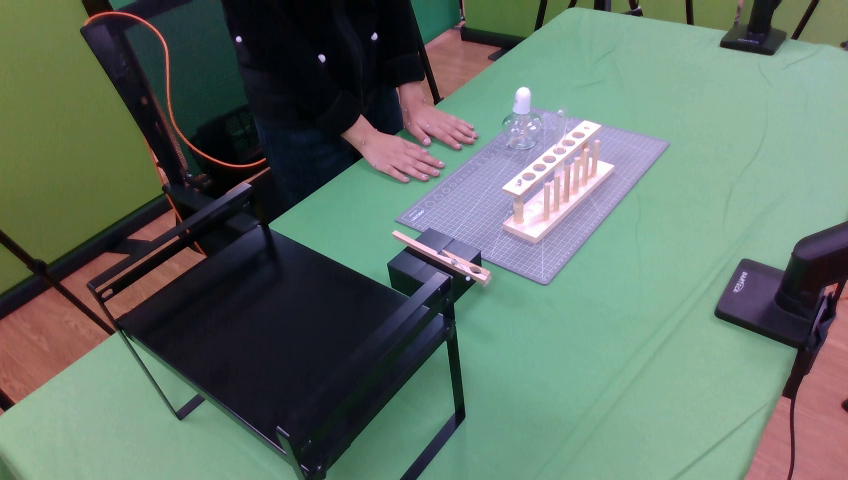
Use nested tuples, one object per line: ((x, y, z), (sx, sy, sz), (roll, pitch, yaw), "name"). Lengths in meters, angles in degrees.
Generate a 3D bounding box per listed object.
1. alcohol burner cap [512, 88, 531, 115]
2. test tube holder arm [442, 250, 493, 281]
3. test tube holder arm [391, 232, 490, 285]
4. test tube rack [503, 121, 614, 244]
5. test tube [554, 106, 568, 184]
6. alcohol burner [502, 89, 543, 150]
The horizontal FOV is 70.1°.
((0.182, -0.260, 1.123), (0.034, 0.048, 0.033), (0, 42, 0), "alcohol burner cap")
((0.059, 0.036, 0.851), (0.087, 0.015, 0.010), (24, 57, 32), "test tube holder arm")
((0.020, 0.025, 0.872), (0.177, 0.015, 0.013), (23, 57, 32), "test tube holder arm")
((0.230, -0.101, 1.006), (0.066, 0.085, 0.243), (26, 50, 35), "test tube rack")
((0.223, -0.151, 0.987), (0.017, 0.151, 0.017), (-4, 43, 4), "test tube")
((0.186, -0.233, 1.147), (0.078, 0.119, 0.077), (-4, 42, 4), "alcohol burner")
